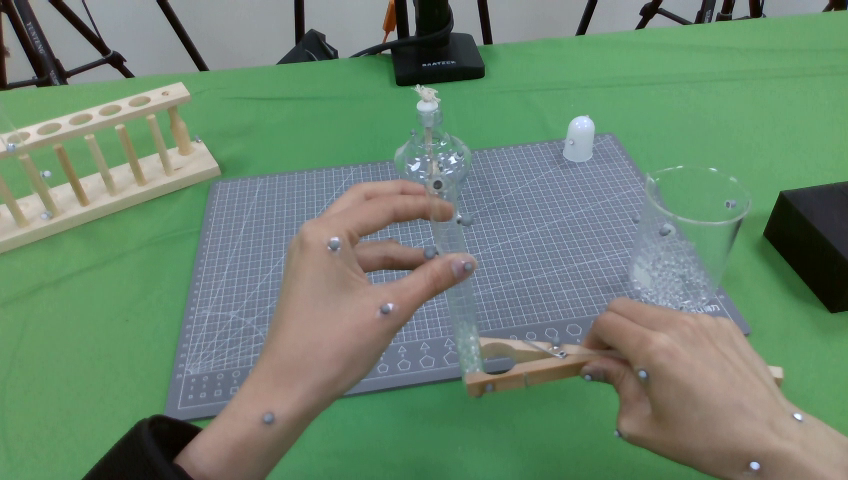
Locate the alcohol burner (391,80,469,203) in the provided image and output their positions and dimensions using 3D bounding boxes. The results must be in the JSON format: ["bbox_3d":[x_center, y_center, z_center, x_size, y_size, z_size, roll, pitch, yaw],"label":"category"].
[{"bbox_3d":[0.005,-0.097,0.587,0.078,0.120,0.077,-3,41,3],"label":"alcohol burner"}]

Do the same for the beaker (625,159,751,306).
[{"bbox_3d":[0.201,-0.004,0.483,0.074,0.101,0.083,-29,47,-25],"label":"beaker"}]

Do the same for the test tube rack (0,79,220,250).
[{"bbox_3d":[-0.346,-0.078,0.614,0.243,0.086,0.066,-24,46,-21],"label":"test tube rack"}]

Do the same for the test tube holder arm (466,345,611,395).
[{"bbox_3d":[0.069,0.076,0.367,0.088,0.015,0.010,-16,48,2],"label":"test tube holder arm"}]

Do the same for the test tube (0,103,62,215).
[{"bbox_3d":[-0.376,-0.085,0.558,0.017,0.152,0.017,-3,41,3],"label":"test tube"}]

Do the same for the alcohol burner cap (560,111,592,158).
[{"bbox_3d":[0.164,-0.115,0.649,0.034,0.048,0.033,-2,43,2],"label":"alcohol burner cap"}]

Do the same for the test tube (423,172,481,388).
[{"bbox_3d":[0.018,0.030,0.340,0.017,0.151,0.017,-7,35,5],"label":"test tube"}]

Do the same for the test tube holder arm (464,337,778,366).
[{"bbox_3d":[0.113,0.067,0.363,0.178,0.015,0.013,-2,51,13],"label":"test tube holder arm"}]
